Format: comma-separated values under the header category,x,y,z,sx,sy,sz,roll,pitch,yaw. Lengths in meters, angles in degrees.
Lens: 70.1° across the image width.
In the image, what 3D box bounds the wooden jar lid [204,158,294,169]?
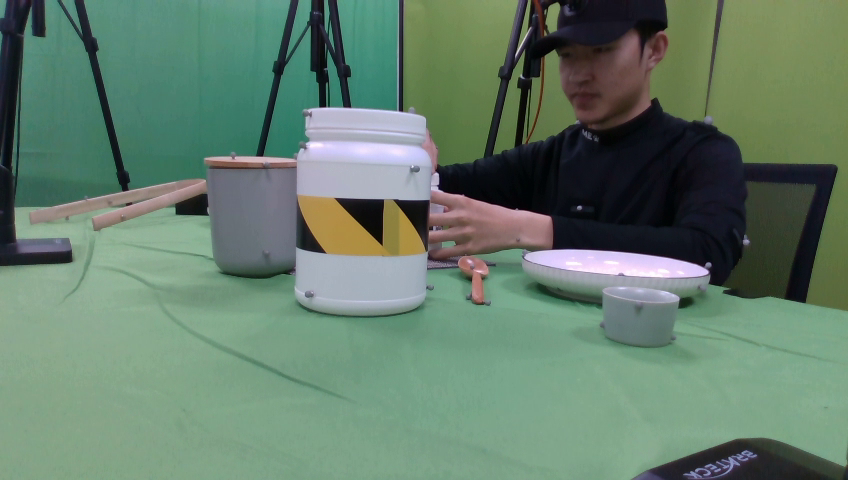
category,x,y,z,sx,sy,sz,roll,pitch,yaw
wooden jar lid,-0.202,-0.086,0.714,0.108,0.020,0.108,3,11,0

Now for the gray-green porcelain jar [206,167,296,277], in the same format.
category,x,y,z,sx,sy,sz,roll,pitch,yaw
gray-green porcelain jar,-0.201,-0.024,0.724,0.106,0.126,0.106,-1,9,1

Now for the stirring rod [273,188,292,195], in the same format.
category,x,y,z,sx,sy,sz,roll,pitch,yaw
stirring rod,-0.353,-0.122,1.519,0.006,0.014,0.176,1,7,1

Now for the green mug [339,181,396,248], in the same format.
category,x,y,z,sx,sy,sz,roll,pitch,yaw
green mug,-0.097,-0.044,0.994,0.093,0.105,0.125,-1,7,-20

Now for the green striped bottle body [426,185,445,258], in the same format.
category,x,y,z,sx,sy,sz,roll,pitch,yaw
green striped bottle body,-0.002,-0.036,0.902,0.063,0.119,0.063,3,8,0

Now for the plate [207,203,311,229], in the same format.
category,x,y,z,sx,sy,sz,roll,pitch,yaw
plate,-0.342,-0.050,1.259,0.208,0.039,0.207,3,7,0

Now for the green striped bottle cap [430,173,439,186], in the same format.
category,x,y,z,sx,sy,sz,roll,pitch,yaw
green striped bottle cap,-0.001,-0.091,0.894,0.044,0.020,0.044,7,7,-1

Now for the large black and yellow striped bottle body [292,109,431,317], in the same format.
category,x,y,z,sx,sy,sz,roll,pitch,yaw
large black and yellow striped bottle body,-0.060,-0.028,0.584,0.131,0.184,0.130,3,7,0

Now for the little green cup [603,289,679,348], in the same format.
category,x,y,z,sx,sy,sz,roll,pitch,yaw
little green cup,0.180,0.064,0.505,0.061,0.038,0.061,2,6,0

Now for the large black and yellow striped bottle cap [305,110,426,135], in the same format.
category,x,y,z,sx,sy,sz,roll,pitch,yaw
large black and yellow striped bottle cap,-0.055,-0.110,0.574,0.115,0.019,0.115,1,7,0

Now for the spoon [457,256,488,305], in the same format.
category,x,y,z,sx,sy,sz,roll,pitch,yaw
spoon,0.059,0.044,0.696,0.041,0.021,0.193,21,7,0

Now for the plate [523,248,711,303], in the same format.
category,x,y,z,sx,sy,sz,roll,pitch,yaw
plate,0.219,0.042,0.706,0.209,0.038,0.209,2,7,0

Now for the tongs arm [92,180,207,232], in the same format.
category,x,y,z,sx,sy,sz,roll,pitch,yaw
tongs arm,-0.534,-0.076,1.221,0.028,0.028,0.388,-2,15,12

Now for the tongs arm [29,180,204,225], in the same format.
category,x,y,z,sx,sy,sz,roll,pitch,yaw
tongs arm,-0.609,-0.083,1.245,0.050,0.026,0.386,5,16,23
